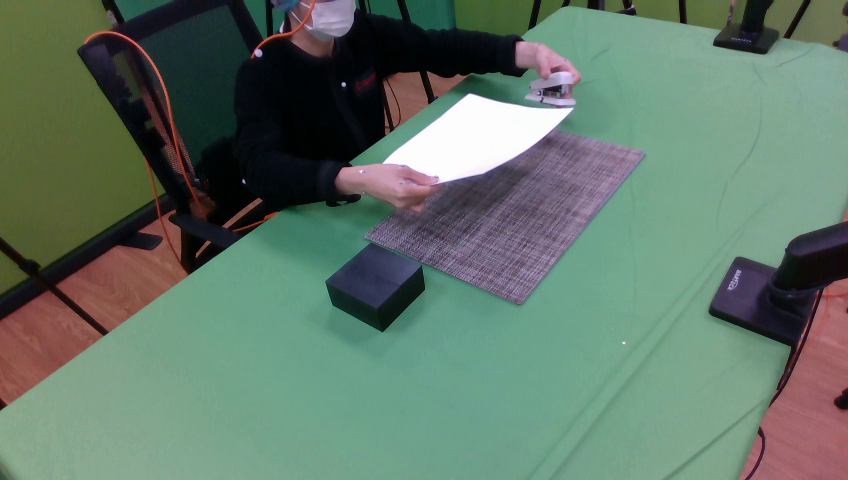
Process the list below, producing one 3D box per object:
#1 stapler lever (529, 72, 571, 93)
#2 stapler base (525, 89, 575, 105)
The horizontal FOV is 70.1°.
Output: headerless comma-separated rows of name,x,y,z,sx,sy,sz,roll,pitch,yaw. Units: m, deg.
stapler lever,0.242,-0.303,1.163,0.027,0.040,0.117,-6,18,-19
stapler base,0.244,-0.279,1.170,0.041,0.024,0.129,-6,18,-20
